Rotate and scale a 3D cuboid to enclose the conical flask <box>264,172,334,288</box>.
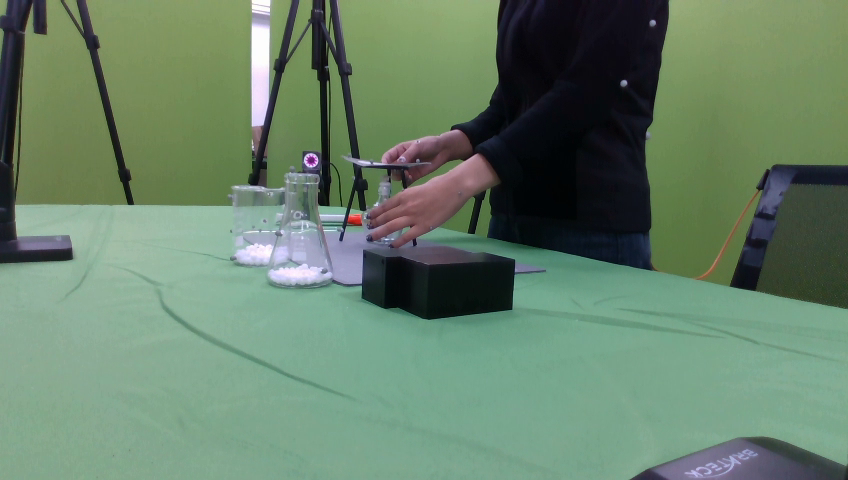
[{"bbox_3d":[-0.136,-0.013,0.660,0.075,0.122,0.075,2,7,0],"label":"conical flask"}]

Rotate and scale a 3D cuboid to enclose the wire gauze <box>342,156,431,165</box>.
[{"bbox_3d":[-0.065,-0.131,1.013,0.122,0.011,0.124,0,9,-26],"label":"wire gauze"}]

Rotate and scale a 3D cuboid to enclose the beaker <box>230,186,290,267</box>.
[{"bbox_3d":[-0.209,-0.019,0.778,0.074,0.100,0.084,3,6,4],"label":"beaker"}]

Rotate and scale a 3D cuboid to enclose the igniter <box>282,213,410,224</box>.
[{"bbox_3d":[-0.159,-0.046,1.287,0.278,0.025,0.057,-1,-3,-21],"label":"igniter"}]

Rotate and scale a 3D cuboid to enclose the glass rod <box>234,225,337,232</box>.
[{"bbox_3d":[-0.256,-0.022,1.136,0.201,0.008,0.008,-3,8,-33],"label":"glass rod"}]

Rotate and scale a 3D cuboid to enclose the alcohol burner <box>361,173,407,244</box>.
[{"bbox_3d":[-0.066,-0.054,1.015,0.078,0.119,0.078,4,8,0],"label":"alcohol burner"}]

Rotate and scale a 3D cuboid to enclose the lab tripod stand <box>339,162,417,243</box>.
[{"bbox_3d":[-0.067,-0.065,1.027,0.148,0.131,0.148,4,7,0],"label":"lab tripod stand"}]

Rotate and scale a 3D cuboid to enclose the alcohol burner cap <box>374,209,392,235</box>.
[{"bbox_3d":[-0.078,-0.036,1.148,0.034,0.048,0.034,3,8,0],"label":"alcohol burner cap"}]
